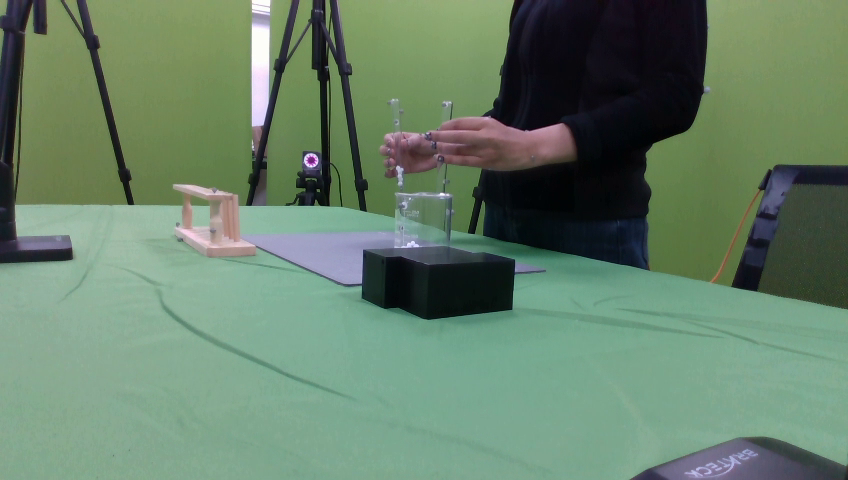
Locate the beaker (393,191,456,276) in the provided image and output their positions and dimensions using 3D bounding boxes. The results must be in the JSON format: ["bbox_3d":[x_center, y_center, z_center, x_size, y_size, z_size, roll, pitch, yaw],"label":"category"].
[{"bbox_3d":[-0.003,-0.010,0.749,0.074,0.100,0.083,-3,8,-40],"label":"beaker"}]

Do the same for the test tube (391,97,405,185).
[{"bbox_3d":[-0.045,-0.169,1.043,0.017,0.150,0.017,-3,8,1],"label":"test tube"}]

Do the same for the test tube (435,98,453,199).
[{"bbox_3d":[0.029,-0.137,0.908,0.017,0.150,0.017,5,9,0],"label":"test tube"}]

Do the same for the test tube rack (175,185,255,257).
[{"bbox_3d":[-0.324,-0.035,0.922,0.067,0.085,0.241,-2,9,-31],"label":"test tube rack"}]
